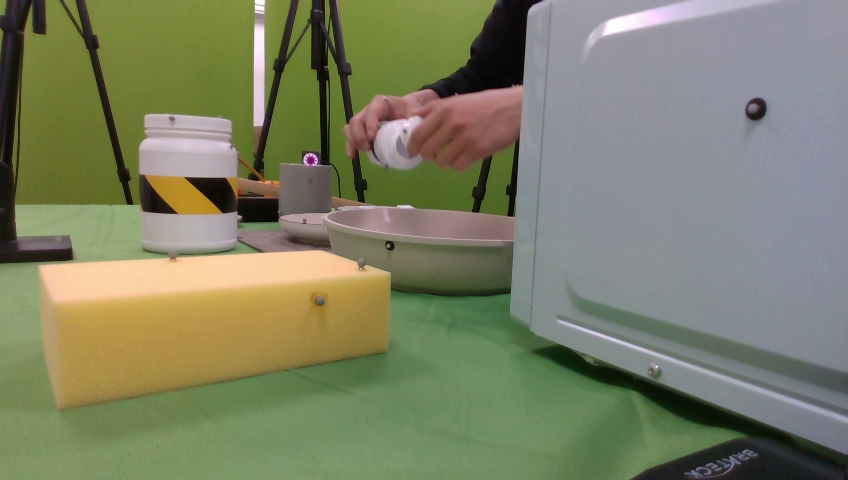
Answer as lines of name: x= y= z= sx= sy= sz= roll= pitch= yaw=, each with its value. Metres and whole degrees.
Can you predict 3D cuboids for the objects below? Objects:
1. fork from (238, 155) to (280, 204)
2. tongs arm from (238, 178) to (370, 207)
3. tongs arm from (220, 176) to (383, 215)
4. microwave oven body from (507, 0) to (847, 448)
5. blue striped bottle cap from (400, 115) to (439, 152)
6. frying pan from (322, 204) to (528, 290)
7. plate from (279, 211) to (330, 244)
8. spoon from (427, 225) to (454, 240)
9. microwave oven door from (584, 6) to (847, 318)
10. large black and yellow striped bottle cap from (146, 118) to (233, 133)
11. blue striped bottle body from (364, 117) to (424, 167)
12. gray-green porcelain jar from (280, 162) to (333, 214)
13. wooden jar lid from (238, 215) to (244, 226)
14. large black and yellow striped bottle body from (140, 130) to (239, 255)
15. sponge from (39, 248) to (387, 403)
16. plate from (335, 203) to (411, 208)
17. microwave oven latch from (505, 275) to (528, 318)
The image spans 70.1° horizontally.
fork: x=-0.396 y=-0.143 z=1.486 sx=0.028 sy=0.018 sz=0.208 roll=20 pitch=-26 yaw=45
tongs arm: x=-0.241 y=-0.095 z=1.373 sx=0.387 sy=0.026 sz=0.050 roll=9 pitch=0 yaw=-37
tongs arm: x=-0.285 y=-0.104 z=1.445 sx=0.389 sy=0.027 sz=0.028 roll=9 pitch=-4 yaw=-23
microwave oven body: x=0.331 y=-0.042 z=0.425 sx=0.444 sy=0.260 sz=0.324 roll=-2 pitch=8 yaw=-31
blue striped bottle cap: x=-0.005 y=-0.129 z=0.732 sx=0.045 sy=0.044 sz=0.020 roll=-3 pitch=-33 yaw=-31
frying pan: x=0.110 y=-0.017 z=0.800 sx=0.490 sy=0.102 sz=0.305 roll=-12 pitch=16 yaw=-30
plate: x=-0.139 y=-0.022 z=1.021 sx=0.209 sy=0.038 sz=0.209 roll=2 pitch=8 yaw=0
spoon: x=0.024 y=-0.019 z=1.124 sx=0.042 sy=0.021 sz=0.193 roll=-17 pitch=9 yaw=-4
microwave oven door: x=0.296 y=-0.067 z=0.568 sx=0.358 sy=0.243 sz=0.039 roll=-3 pitch=8 yaw=-31
large black and yellow striped bottle cap: x=-0.333 y=-0.163 z=0.861 sx=0.115 sy=0.019 sz=0.115 roll=1 pitch=9 yaw=0
blue striped bottle body: x=-0.036 y=-0.129 z=0.794 sx=0.063 sy=0.063 sz=0.120 roll=-1 pitch=10 yaw=-18
gray-green porcelain jar: x=-0.238 y=-0.092 z=1.221 sx=0.106 sy=0.126 sz=0.106 roll=2 pitch=7 yaw=0
wooden jar lid: x=-0.404 y=-0.037 z=1.169 sx=0.108 sy=0.020 sz=0.108 roll=3 pitch=7 yaw=0
large black and yellow striped bottle body: x=-0.336 y=-0.078 z=0.871 sx=0.131 sy=0.184 sz=0.130 roll=2 pitch=8 yaw=0
sponge: x=-0.142 y=0.047 z=0.420 sx=0.208 sy=0.061 sz=0.117 roll=-3 pitch=8 yaw=-37
plate: x=-0.089 y=-0.053 z=1.309 sx=0.208 sy=0.039 sz=0.207 roll=2 pitch=8 yaw=0
microwave oven latch: x=0.100 y=0.042 z=0.472 sx=0.079 sy=0.029 sz=0.030 roll=-2 pitch=8 yaw=-30
